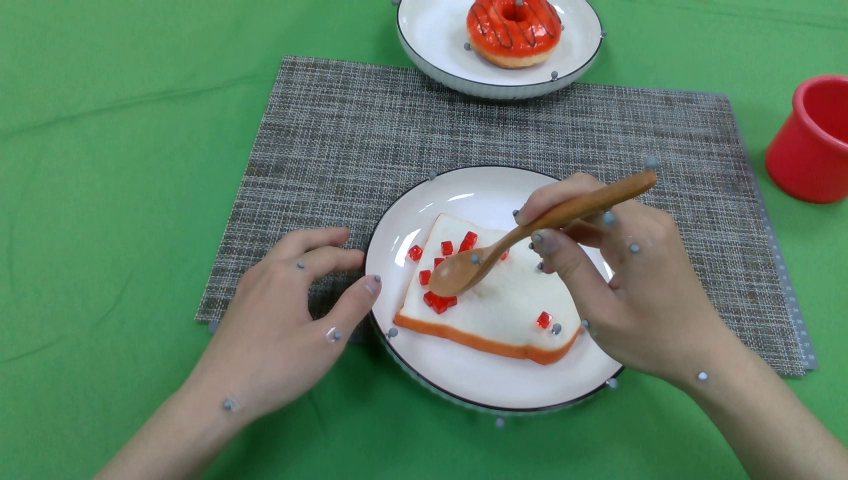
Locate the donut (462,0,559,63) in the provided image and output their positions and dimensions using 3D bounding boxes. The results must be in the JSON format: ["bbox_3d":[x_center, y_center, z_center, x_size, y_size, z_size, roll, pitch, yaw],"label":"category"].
[{"bbox_3d":[0.087,-0.218,0.610,0.099,0.048,0.098,2,57,-3],"label":"donut"}]

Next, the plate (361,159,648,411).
[{"bbox_3d":[0.058,0.029,0.453,0.209,0.038,0.207,2,56,-2],"label":"plate"}]

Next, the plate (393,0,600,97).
[{"bbox_3d":[0.072,-0.213,0.620,0.208,0.039,0.205,2,54,-3],"label":"plate"}]

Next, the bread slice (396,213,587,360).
[{"bbox_3d":[0.055,0.033,0.454,0.131,0.019,0.104,14,56,9],"label":"bread slice"}]

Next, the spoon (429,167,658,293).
[{"bbox_3d":[0.057,-0.002,0.358,0.022,0.194,0.041,38,58,-11],"label":"spoon"}]
